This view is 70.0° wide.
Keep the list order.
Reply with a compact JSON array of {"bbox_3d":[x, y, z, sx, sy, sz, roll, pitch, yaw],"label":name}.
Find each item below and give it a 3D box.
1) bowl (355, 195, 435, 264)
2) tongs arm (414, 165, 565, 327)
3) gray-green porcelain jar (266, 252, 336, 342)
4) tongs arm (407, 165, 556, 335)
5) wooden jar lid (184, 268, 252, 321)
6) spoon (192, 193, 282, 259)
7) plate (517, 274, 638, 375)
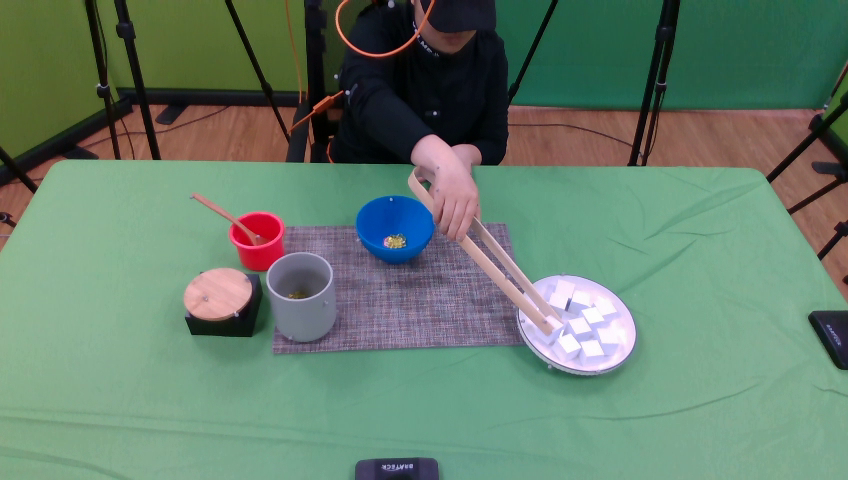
[{"bbox_3d":[-0.056,-0.008,1.158,0.151,0.077,0.150,2,46,-2],"label":"bowl"},{"bbox_3d":[0.113,0.004,1.084,0.028,0.028,0.386,-27,69,-39],"label":"tongs arm"},{"bbox_3d":[-0.202,0.100,1.009,0.106,0.127,0.105,2,46,-2],"label":"gray-green porcelain jar"},{"bbox_3d":[0.097,0.011,1.068,0.383,0.026,0.051,46,45,13],"label":"tongs arm"},{"bbox_3d":[-0.343,0.092,1.015,0.108,0.021,0.107,3,46,-3],"label":"wooden jar lid"},{"bbox_3d":[-0.342,-0.027,1.115,0.194,0.021,0.041,43,40,-24],"label":"spoon"},{"bbox_3d":[0.264,0.149,1.060,0.209,0.038,0.208,3,46,-3],"label":"plate"}]
